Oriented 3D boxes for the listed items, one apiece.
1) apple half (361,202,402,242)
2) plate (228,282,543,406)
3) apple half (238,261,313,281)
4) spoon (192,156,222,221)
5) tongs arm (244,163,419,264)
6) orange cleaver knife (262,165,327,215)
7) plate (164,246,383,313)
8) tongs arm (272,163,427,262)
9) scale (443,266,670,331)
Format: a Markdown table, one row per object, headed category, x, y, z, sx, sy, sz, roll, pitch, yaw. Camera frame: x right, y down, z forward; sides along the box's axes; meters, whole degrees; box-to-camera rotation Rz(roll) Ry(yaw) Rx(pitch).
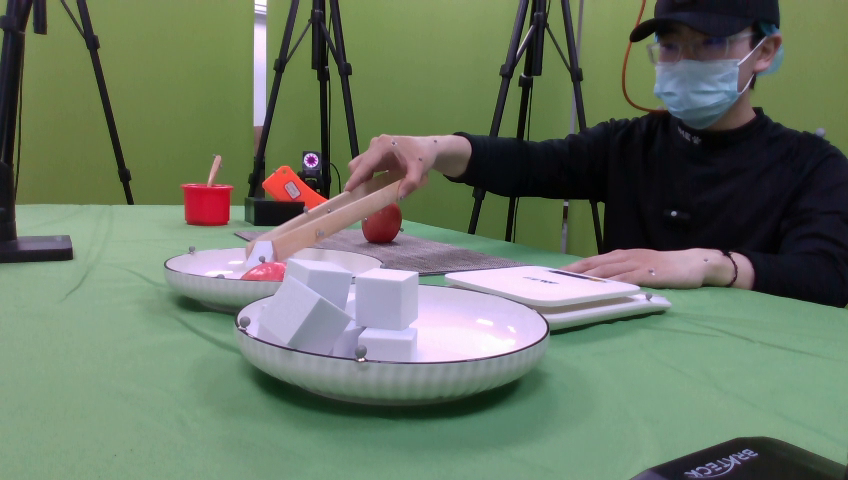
| category | x | y | z | sx | sy | sz | roll | pitch | yaw |
| --- | --- | --- | --- | --- | --- | --- | --- | --- | --- |
| apple half | -0.066 | -0.033 | 1.014 | 0.053 | 0.074 | 0.081 | 10 | 6 | 20 |
| plate | -0.025 | 0.067 | 0.413 | 0.208 | 0.039 | 0.207 | 2 | 7 | 0 |
| apple half | -0.141 | 0.036 | 0.578 | 0.081 | 0.033 | 0.081 | 2 | 11 | 0 |
| spoon | -0.430 | -0.108 | 1.222 | 0.041 | 0.021 | 0.193 | -1 | 52 | 0 |
| tongs arm | -0.098 | -0.047 | 0.793 | 0.050 | 0.026 | 0.385 | 2 | 20 | 21 |
| orange cleaver knife | -0.243 | -0.081 | 1.292 | 0.212 | 0.077 | 0.012 | 34 | -8 | -26 |
| plate | -0.145 | 0.038 | 0.600 | 0.209 | 0.038 | 0.209 | 2 | 8 | 0 |
| tongs arm | -0.075 | -0.045 | 0.783 | 0.028 | 0.028 | 0.388 | -1 | 19 | 26 |
| scale | 0.131 | 0.052 | 0.603 | 0.202 | 0.031 | 0.148 | -2 | 9 | -37 |
